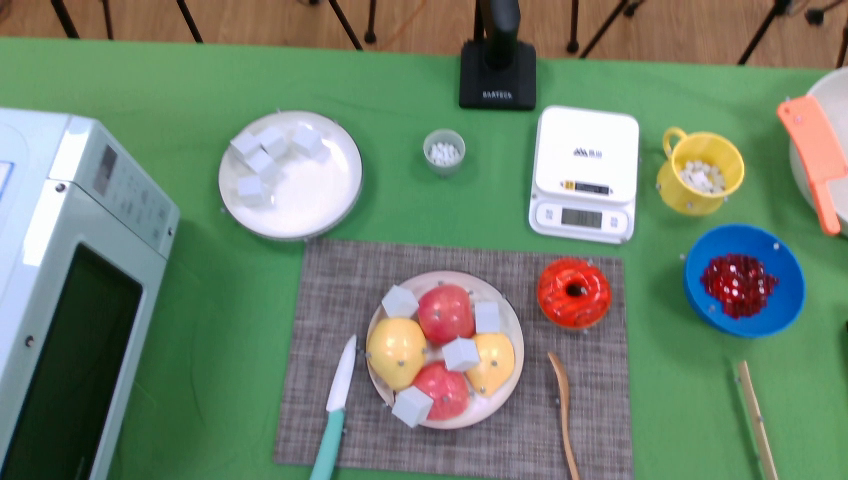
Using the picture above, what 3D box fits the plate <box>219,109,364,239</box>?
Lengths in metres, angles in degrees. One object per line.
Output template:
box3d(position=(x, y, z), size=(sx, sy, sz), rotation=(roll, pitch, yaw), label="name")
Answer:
box3d(position=(-0.190, -0.095, 0.887), size=(0.208, 0.039, 0.206), rotation=(0, 69, 1), label="plate")

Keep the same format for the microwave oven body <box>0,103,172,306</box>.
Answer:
box3d(position=(-0.535, 0.090, 0.698), size=(0.326, 0.262, 0.439), rotation=(6, 70, 3), label="microwave oven body")

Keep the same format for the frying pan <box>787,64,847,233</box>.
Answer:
box3d(position=(0.700, -0.035, 0.819), size=(0.307, 0.103, 0.483), rotation=(-22, 62, -6), label="frying pan")

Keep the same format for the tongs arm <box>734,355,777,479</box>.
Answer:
box3d(position=(0.445, 0.328, 0.722), size=(0.051, 0.027, 0.382), rotation=(-4, 70, -4), label="tongs arm")

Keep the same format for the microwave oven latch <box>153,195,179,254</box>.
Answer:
box3d(position=(-0.364, -0.023, 0.842), size=(0.030, 0.030, 0.078), rotation=(7, 70, 3), label="microwave oven latch")

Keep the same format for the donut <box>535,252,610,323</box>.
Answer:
box3d(position=(0.198, 0.064, 0.815), size=(0.099, 0.048, 0.098), rotation=(-1, 70, 3), label="donut")

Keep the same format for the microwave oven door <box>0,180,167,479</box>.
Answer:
box3d(position=(-0.395, 0.143, 0.671), size=(0.039, 0.245, 0.353), rotation=(6, 69, 3), label="microwave oven door")

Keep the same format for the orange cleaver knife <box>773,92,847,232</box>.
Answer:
box3d(position=(0.541, -0.112, 0.829), size=(0.077, 0.012, 0.210), rotation=(-5, 70, -4), label="orange cleaver knife")

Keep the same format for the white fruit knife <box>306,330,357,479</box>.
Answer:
box3d(position=(-0.115, 0.214, 0.777), size=(0.027, 0.016, 0.206), rotation=(15, 69, -5), label="white fruit knife")

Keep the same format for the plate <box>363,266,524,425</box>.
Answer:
box3d(position=(0.026, 0.137, 0.793), size=(0.209, 0.038, 0.207), rotation=(0, 69, 0), label="plate")

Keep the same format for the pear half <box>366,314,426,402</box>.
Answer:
box3d(position=(-0.034, 0.148, 0.767), size=(0.076, 0.056, 0.109), rotation=(0, 73, -8), label="pear half")

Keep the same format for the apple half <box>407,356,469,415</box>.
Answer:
box3d(position=(0.017, 0.183, 0.766), size=(0.081, 0.033, 0.080), rotation=(1, 64, -2), label="apple half")

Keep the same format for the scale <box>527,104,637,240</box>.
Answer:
box3d(position=(0.234, -0.102, 0.889), size=(0.148, 0.032, 0.199), rotation=(8, 70, 4), label="scale")

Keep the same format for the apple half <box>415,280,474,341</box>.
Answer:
box3d(position=(0.025, 0.090, 0.792), size=(0.074, 0.053, 0.080), rotation=(-9, 72, 1), label="apple half")

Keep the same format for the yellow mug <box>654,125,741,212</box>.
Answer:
box3d(position=(0.382, -0.111, 0.872), size=(0.100, 0.064, 0.130), rotation=(-27, 70, -9), label="yellow mug")

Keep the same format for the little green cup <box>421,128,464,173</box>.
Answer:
box3d(position=(0.028, -0.131, 0.898), size=(0.061, 0.039, 0.061), rotation=(0, 69, 1), label="little green cup")

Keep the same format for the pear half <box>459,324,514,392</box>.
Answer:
box3d(position=(0.079, 0.150, 0.781), size=(0.070, 0.031, 0.087), rotation=(1, 66, 16), label="pear half")

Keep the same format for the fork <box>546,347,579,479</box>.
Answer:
box3d(position=(0.181, 0.237, 0.763), size=(0.018, 0.028, 0.206), rotation=(-14, 70, 24), label="fork")

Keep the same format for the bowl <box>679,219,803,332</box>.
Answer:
box3d(position=(0.404, 0.056, 0.802), size=(0.151, 0.077, 0.150), rotation=(0, 70, 1), label="bowl")
